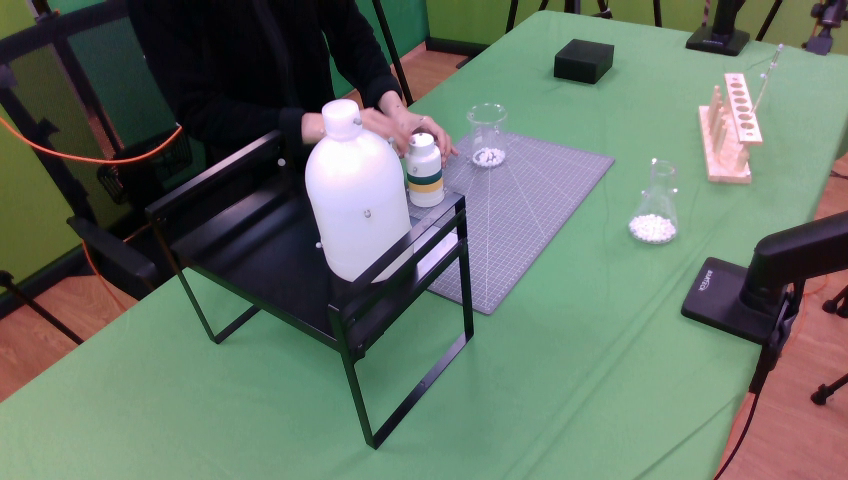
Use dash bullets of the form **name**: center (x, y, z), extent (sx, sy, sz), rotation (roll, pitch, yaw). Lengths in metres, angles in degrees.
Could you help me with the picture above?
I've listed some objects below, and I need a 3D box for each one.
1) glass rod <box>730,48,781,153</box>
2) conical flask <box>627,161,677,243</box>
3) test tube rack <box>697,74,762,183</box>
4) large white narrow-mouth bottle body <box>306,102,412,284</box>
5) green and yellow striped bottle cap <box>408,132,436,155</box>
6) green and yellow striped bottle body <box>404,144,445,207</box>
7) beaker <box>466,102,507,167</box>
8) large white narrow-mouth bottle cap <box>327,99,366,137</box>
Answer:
- **glass rod**: center (0.554, -0.228, 1.015), extent (0.008, 0.200, 0.008), rotation (1, 44, -1)
- **conical flask**: center (0.355, -0.061, 0.921), extent (0.075, 0.122, 0.075), rotation (-4, 41, 4)
- **test tube rack**: center (0.547, -0.208, 1.095), extent (0.066, 0.085, 0.242), rotation (5, 42, 15)
- **large white narrow-mouth bottle body**: center (-0.070, -0.051, 0.637), extent (0.102, 0.195, 0.101), rotation (-3, 40, 3)
- **green and yellow striped bottle cap**: center (-0.003, -0.160, 1.005), extent (0.045, 0.020, 0.045), rotation (-5, 41, 5)
- **green and yellow striped bottle body**: center (0.000, -0.122, 1.039), extent (0.063, 0.120, 0.063), rotation (-4, 41, 4)
- **beaker**: center (0.121, -0.195, 1.124), extent (0.084, 0.101, 0.073), rotation (-34, 48, -28)
- **large white narrow-mouth bottle cap**: center (-0.075, -0.117, 0.582), extent (0.038, 0.024, 0.037), rotation (-3, 40, 3)
